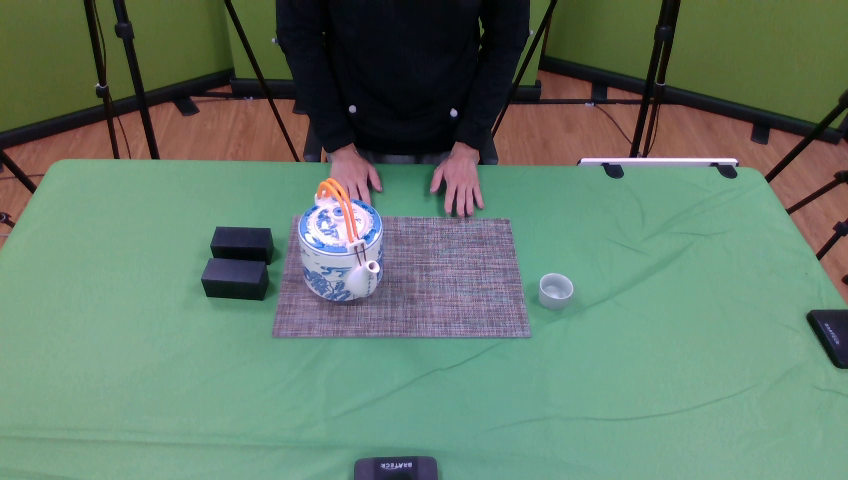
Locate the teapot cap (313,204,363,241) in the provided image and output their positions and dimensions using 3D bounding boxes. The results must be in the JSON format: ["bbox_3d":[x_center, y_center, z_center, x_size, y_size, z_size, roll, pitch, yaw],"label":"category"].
[{"bbox_3d":[-0.144,-0.034,1.020,0.085,0.044,0.084,2,49,-2],"label":"teapot cap"}]

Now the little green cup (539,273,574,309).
[{"bbox_3d":[0.240,0.096,1.113,0.061,0.039,0.061,2,47,-2],"label":"little green cup"}]

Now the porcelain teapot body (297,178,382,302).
[{"bbox_3d":[-0.129,0.012,1.032,0.145,0.226,0.204,-24,53,-25],"label":"porcelain teapot body"}]
